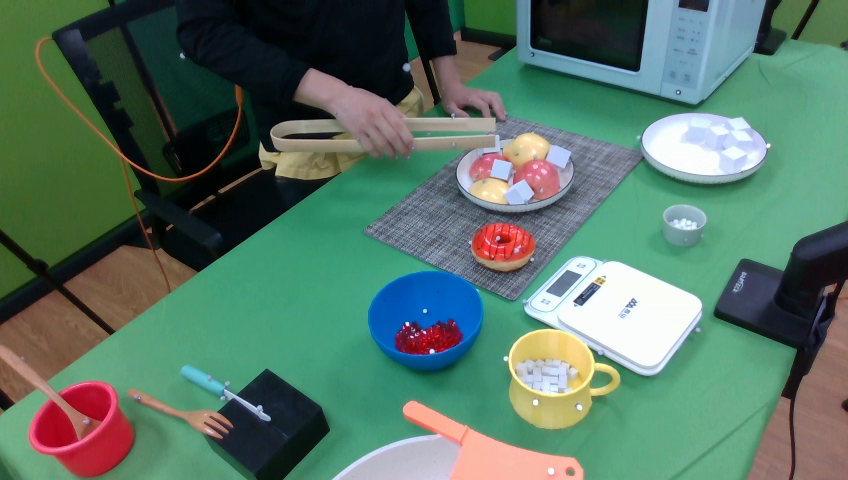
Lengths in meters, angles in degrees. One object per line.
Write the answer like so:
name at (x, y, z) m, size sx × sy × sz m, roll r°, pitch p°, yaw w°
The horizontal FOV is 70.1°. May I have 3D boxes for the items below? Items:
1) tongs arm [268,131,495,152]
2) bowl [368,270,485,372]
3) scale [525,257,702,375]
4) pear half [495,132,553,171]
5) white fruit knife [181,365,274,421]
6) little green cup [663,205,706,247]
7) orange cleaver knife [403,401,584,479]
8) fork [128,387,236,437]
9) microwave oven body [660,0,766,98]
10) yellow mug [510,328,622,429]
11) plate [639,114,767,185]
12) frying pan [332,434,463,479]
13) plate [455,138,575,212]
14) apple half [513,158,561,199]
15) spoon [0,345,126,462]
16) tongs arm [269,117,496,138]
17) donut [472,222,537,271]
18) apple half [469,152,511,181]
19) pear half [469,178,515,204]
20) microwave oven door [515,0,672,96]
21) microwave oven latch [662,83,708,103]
tongs arm at (-0.076, -0.163, 1.004) m, size 0.387 × 0.028 × 0.028 m, roll 2°, pitch 47°, yaw 9°
bowl at (0.007, 0.118, 0.791) m, size 0.151 × 0.077 × 0.150 m, roll -5°, pitch 39°, yaw 4°
scale at (0.254, 0.091, 0.821) m, size 0.199 × 0.032 × 0.149 m, roll 27°, pitch 51°, yaw 35°
pear half at (0.174, -0.167, 1.094) m, size 0.109 × 0.056 × 0.076 m, roll 16°, pitch 53°, yaw 30°
white fruit knife at (-0.245, 0.188, 0.747) m, size 0.205 × 0.027 × 0.016 m, roll 9°, pitch 42°, yaw 40°
little green cup at (0.396, -0.020, 0.926) m, size 0.061 × 0.039 × 0.061 m, roll -4°, pitch 40°, yaw 4°
orange cleaver knife at (0.062, 0.222, 0.609) m, size 0.210 × 0.012 × 0.077 m, roll 15°, pitch 49°, yaw 24°
fork at (-0.305, 0.207, 0.744) m, size 0.206 × 0.019 × 0.028 m, roll 3°, pitch 40°, yaw 36°
microwave oven body at (0.472, -0.513, 1.317) m, size 0.438 × 0.261 × 0.327 m, roll 26°, pitch 51°, yaw 34°
yellow mug at (0.168, 0.164, 0.721) m, size 0.130 × 0.064 × 0.099 m, roll 0°, pitch 40°, yaw 8°
plate at (0.489, -0.157, 1.074) m, size 0.207 × 0.039 × 0.206 m, roll -4°, pitch 40°, yaw 4°
frying pan at (-0.089, 0.306, 0.564) m, size 0.487 × 0.103 × 0.306 m, roll 10°, pitch 41°, yaw 7°
plate at (0.159, -0.111, 1.063) m, size 0.209 × 0.038 × 0.208 m, roll -4°, pitch 40°, yaw 4°
apple half at (0.193, -0.111, 1.031) m, size 0.080 × 0.053 × 0.075 m, roll 11°, pitch 41°, yaw 26°
spoon at (-0.434, 0.192, 0.720) m, size 0.194 × 0.021 × 0.042 m, roll 47°, pitch 53°, yaw -7°
tongs arm at (-0.072, -0.186, 1.030) m, size 0.384 × 0.026 × 0.050 m, roll 2°, pitch 43°, yaw 9°
donut at (0.123, 0.009, 0.923) m, size 0.099 × 0.048 × 0.098 m, roll -3°, pitch 38°, yaw 3°
apple half at (0.119, -0.138, 1.088) m, size 0.081 × 0.033 × 0.081 m, roll -1°, pitch 44°, yaw 2°
pear half at (0.115, -0.090, 1.036) m, size 0.087 × 0.031 × 0.071 m, roll 28°, pitch 38°, yaw 32°
microwave oven door at (0.343, -0.454, 1.259) m, size 0.353 × 0.245 × 0.039 m, roll 26°, pitch 51°, yaw 33°
microwave oven latch at (0.518, -0.296, 1.204) m, size 0.078 × 0.029 × 0.030 m, roll 28°, pitch 52°, yaw 35°
